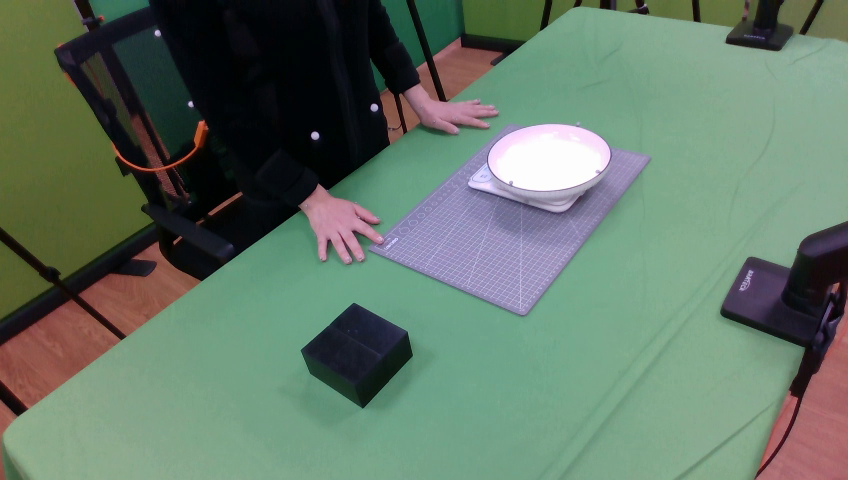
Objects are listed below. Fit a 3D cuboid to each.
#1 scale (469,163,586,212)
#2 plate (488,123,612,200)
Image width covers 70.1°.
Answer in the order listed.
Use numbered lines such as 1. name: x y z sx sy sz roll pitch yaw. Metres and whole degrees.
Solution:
1. scale: 0.194 -0.117 1.076 0.199 0.032 0.149 21 48 31
2. plate: 0.214 -0.132 1.037 0.209 0.038 0.208 -6 41 5
